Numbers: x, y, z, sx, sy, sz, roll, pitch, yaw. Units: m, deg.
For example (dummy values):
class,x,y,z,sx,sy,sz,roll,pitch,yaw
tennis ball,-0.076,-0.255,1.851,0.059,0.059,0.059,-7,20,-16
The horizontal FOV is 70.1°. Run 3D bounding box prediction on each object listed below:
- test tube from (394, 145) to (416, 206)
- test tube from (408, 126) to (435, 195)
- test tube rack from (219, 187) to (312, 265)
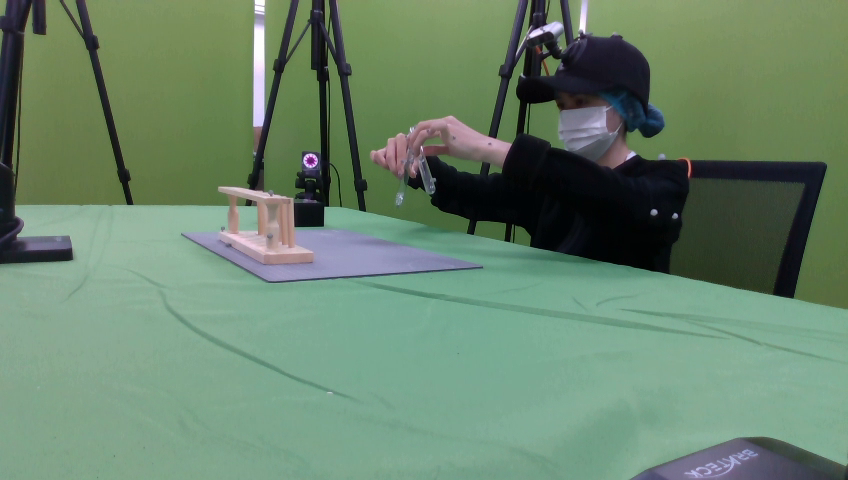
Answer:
class,x,y,z,sx,sy,sz,roll,pitch,yaw
test tube,-0.036,-0.112,1.084,0.017,0.017,0.150,1,-36,-14
test tube,-0.005,-0.128,0.962,0.017,0.017,0.150,0,50,-19
test tube rack,-0.235,-0.027,0.872,0.067,0.085,0.241,-2,8,-31
